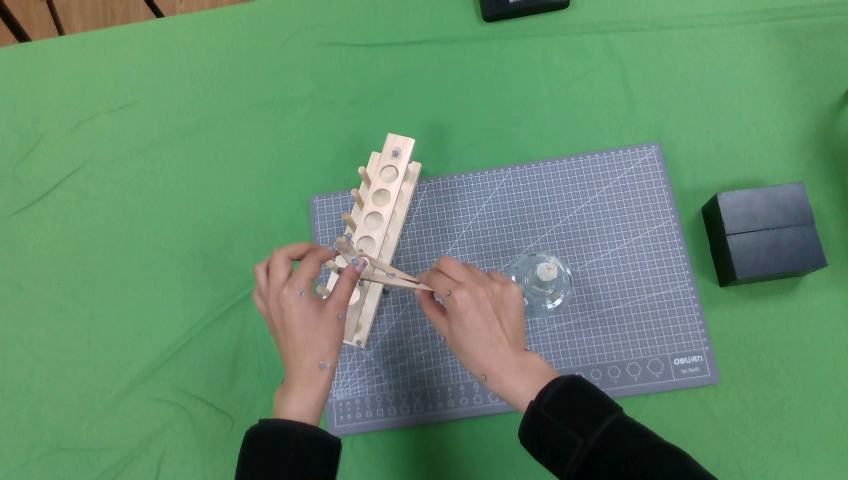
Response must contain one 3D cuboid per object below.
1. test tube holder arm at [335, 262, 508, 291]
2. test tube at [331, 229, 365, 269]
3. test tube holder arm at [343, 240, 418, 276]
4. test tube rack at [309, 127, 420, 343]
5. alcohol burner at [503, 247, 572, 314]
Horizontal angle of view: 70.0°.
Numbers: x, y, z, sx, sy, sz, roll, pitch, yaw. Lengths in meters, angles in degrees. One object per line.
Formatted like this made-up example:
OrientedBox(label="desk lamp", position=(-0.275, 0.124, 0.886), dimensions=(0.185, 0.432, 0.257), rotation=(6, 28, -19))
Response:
OrientedBox(label="test tube holder arm", position=(-0.005, 0.037, 0.608), dimensions=(0.178, 0.015, 0.013), rotation=(7, 70, 15))
OrientedBox(label="test tube", position=(-0.073, 0.017, 0.617), dimensions=(0.017, 0.151, 0.017), rotation=(-1, 75, 2))
OrientedBox(label="test tube holder arm", position=(-0.044, 0.023, 0.623), dimensions=(0.087, 0.015, 0.010), rotation=(25, 75, 21))
OrientedBox(label="test tube rack", position=(-0.074, -0.008, 0.713), dimensions=(0.066, 0.085, 0.241), rotation=(15, 77, 9))
OrientedBox(label="alcohol burner", position=(0.128, 0.041, 0.671), dimensions=(0.078, 0.120, 0.077), rotation=(-1, 74, 3))
